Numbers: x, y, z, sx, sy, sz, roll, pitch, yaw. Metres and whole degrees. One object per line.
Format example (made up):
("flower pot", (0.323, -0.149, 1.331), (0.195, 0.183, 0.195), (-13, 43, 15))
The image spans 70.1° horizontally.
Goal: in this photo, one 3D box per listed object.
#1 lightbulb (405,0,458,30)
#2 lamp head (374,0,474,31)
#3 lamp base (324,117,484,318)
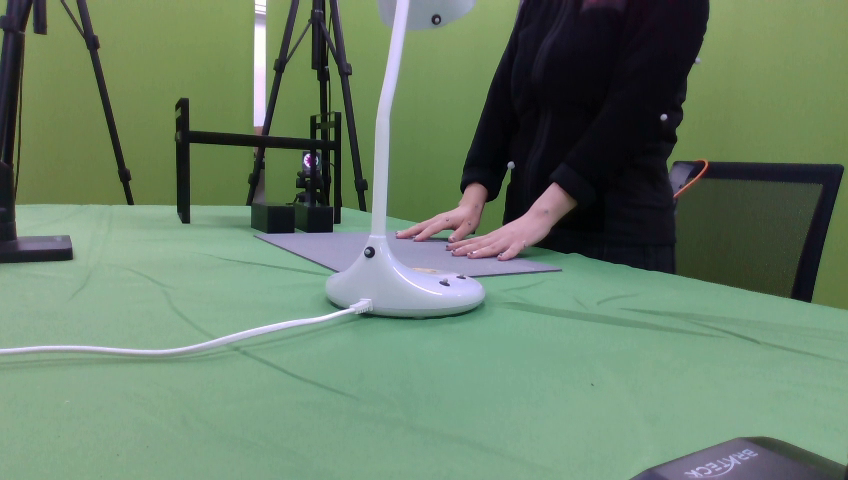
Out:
("lightbulb", (0.001, -0.283, 0.659), (0.059, 0.108, 0.059), (-13, 40, 11))
("lamp head", (-0.009, -0.298, 0.640), (0.112, 0.123, 0.112), (-7, 49, 8))
("lamp base", (-0.020, -0.025, 0.583), (0.160, 0.180, 0.179), (4, 10, 17))
